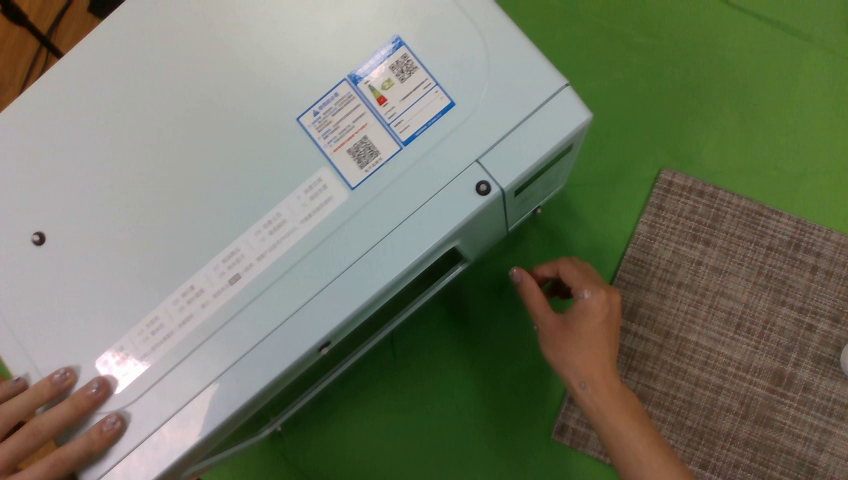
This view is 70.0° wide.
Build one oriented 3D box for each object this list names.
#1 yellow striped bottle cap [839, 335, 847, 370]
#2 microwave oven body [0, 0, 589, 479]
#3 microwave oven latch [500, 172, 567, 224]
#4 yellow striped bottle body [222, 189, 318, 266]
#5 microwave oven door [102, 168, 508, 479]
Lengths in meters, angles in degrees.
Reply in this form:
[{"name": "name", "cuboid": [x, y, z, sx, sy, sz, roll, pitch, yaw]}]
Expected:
[{"name": "yellow striped bottle cap", "cuboid": [0.426, 0.110, 0.582, 0.044, 0.019, 0.044, -1, 85, 10]}, {"name": "microwave oven body", "cuboid": [-0.135, -0.058, 0.554, 0.442, 0.261, 0.325, -41, 81, 4]}, {"name": "microwave oven latch", "cuboid": [0.108, -0.051, 0.616, 0.079, 0.029, 0.030, -38, 81, 4]}, {"name": "yellow striped bottle body", "cuboid": [-0.141, -0.010, 0.557, 0.063, 0.120, 0.062, 0, 85, 4]}, {"name": "microwave oven door", "cuboid": [-0.076, 0.080, 0.528, 0.356, 0.245, 0.039, -41, 79, 3]}]
